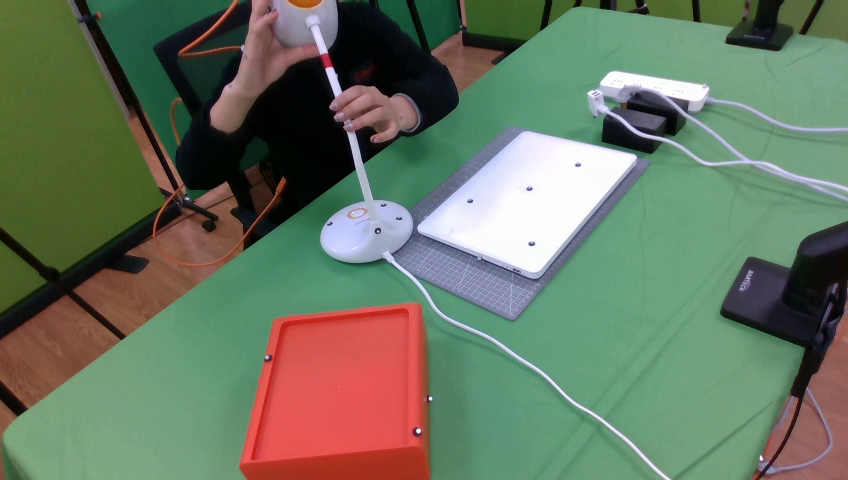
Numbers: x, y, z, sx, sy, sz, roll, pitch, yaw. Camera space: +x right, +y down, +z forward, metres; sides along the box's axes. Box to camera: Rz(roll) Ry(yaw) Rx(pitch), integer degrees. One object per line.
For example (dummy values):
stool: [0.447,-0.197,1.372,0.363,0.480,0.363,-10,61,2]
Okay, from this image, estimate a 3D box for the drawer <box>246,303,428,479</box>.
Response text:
drawer: [-0.097,0.183,0.743,0.194,0.073,0.210,-6,40,3]

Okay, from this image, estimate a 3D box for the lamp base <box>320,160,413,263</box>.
lamp base: [-0.101,-0.071,0.966,0.161,0.181,0.177,-28,44,-20]

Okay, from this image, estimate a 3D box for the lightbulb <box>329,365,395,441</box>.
lightbulb: [-0.080,0.195,0.738,0.060,0.060,0.107,-32,61,-25]

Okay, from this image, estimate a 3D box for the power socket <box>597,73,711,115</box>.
power socket: [0.469,-0.304,1.249,0.225,0.033,0.072,20,49,30]

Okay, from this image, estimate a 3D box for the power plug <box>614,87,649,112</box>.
power plug: [0.406,-0.275,1.192,0.035,0.053,0.072,-16,24,-16]

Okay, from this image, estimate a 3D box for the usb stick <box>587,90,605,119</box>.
usb stick: [0.334,-0.258,1.170,0.021,0.059,0.027,-28,44,-5]

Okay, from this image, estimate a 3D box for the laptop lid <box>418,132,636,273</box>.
laptop lid: [0.181,-0.084,1.036,0.239,0.013,0.358,22,49,35]

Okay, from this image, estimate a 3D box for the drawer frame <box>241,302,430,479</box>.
drawer frame: [-0.095,0.184,0.740,0.202,0.083,0.212,-7,40,3]

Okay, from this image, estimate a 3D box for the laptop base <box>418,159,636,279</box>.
laptop base: [0.185,-0.074,1.042,0.233,0.023,0.355,19,48,35]

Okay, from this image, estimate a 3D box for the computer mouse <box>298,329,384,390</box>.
computer mouse: [-0.111,0.156,0.798,0.117,0.041,0.062,-15,41,1]

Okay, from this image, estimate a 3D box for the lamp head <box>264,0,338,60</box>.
lamp head: [-0.174,-0.333,0.874,0.113,0.112,0.122,-23,2,-15]
